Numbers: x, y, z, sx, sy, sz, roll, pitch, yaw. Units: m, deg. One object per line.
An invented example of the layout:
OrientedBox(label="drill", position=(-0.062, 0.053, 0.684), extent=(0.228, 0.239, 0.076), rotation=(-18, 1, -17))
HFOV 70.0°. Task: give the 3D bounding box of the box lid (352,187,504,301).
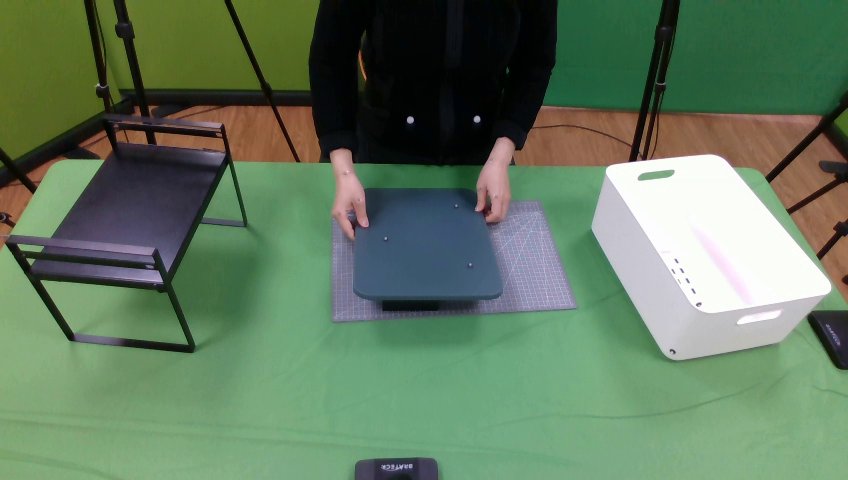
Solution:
OrientedBox(label="box lid", position=(-0.002, -0.006, 1.162), extent=(0.263, 0.015, 0.369), rotation=(0, 34, -5))

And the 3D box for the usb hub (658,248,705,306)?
OrientedBox(label="usb hub", position=(0.482, 0.069, 1.150), extent=(0.049, 0.025, 0.124), rotation=(-2, 48, -8))

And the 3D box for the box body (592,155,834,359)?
OrientedBox(label="box body", position=(0.496, 0.024, 1.111), extent=(0.254, 0.161, 0.361), rotation=(-8, 47, -10))
